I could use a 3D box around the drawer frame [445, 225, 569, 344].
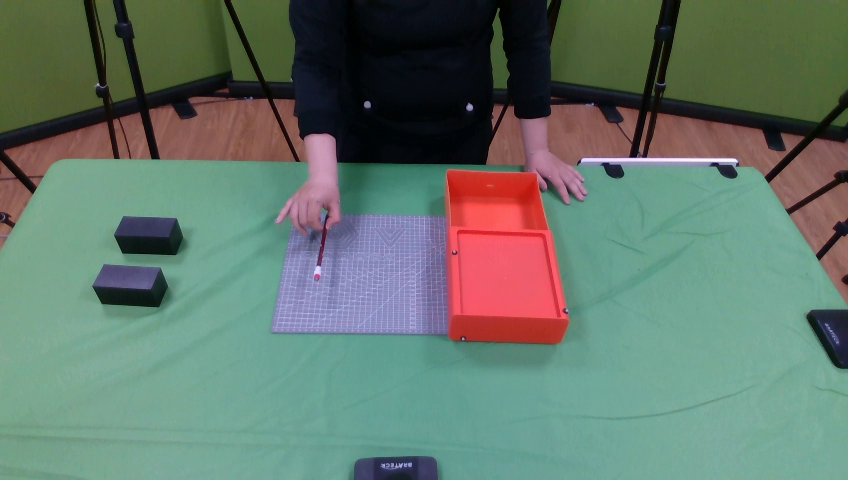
[{"bbox_3d":[0.141,0.076,1.089,0.202,0.083,0.212,2,47,-3],"label":"drawer frame"}]

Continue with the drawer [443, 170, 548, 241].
[{"bbox_3d":[0.140,-0.049,1.217,0.194,0.073,0.210,2,43,-3],"label":"drawer"}]

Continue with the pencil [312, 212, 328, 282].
[{"bbox_3d":[-0.191,0.008,1.129,0.012,0.012,0.193,2,41,-2],"label":"pencil"}]
